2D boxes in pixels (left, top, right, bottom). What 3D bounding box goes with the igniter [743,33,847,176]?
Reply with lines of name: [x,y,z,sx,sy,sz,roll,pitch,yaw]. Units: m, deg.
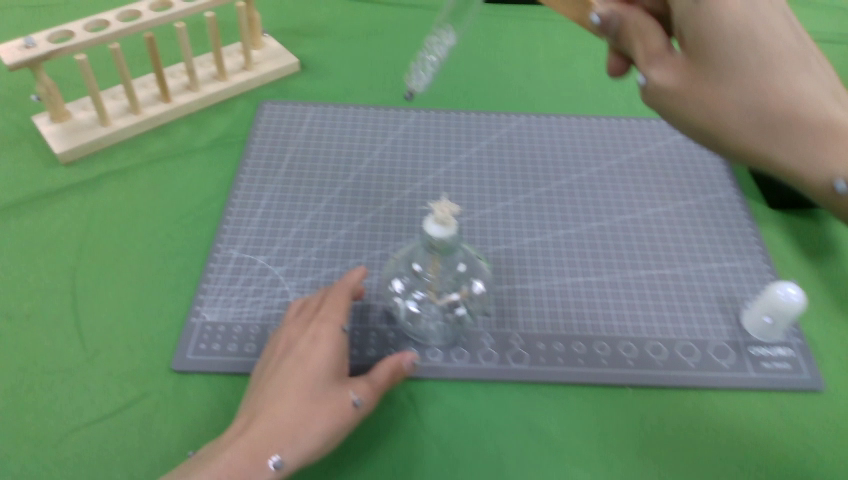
igniter: [0.352,-0.103,0.526,0.057,0.025,0.273,-4,47,-2]

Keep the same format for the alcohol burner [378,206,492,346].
alcohol burner: [0.008,0.019,0.402,0.078,0.120,0.077,1,51,-1]

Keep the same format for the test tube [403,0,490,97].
test tube: [0.029,-0.129,0.307,0.017,0.150,0.017,20,46,-22]

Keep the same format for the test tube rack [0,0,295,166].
test tube rack: [-0.247,-0.167,0.568,0.242,0.086,0.066,-31,58,-27]

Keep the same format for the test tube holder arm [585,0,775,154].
test tube holder arm: [0.094,-0.099,0.297,0.178,0.015,0.013,36,47,3]

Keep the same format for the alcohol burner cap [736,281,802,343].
alcohol burner cap: [0.251,0.049,0.438,0.034,0.048,0.033,2,48,-2]

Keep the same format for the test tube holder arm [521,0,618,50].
test tube holder arm: [0.054,-0.121,0.294,0.088,0.015,0.010,31,46,-2]
